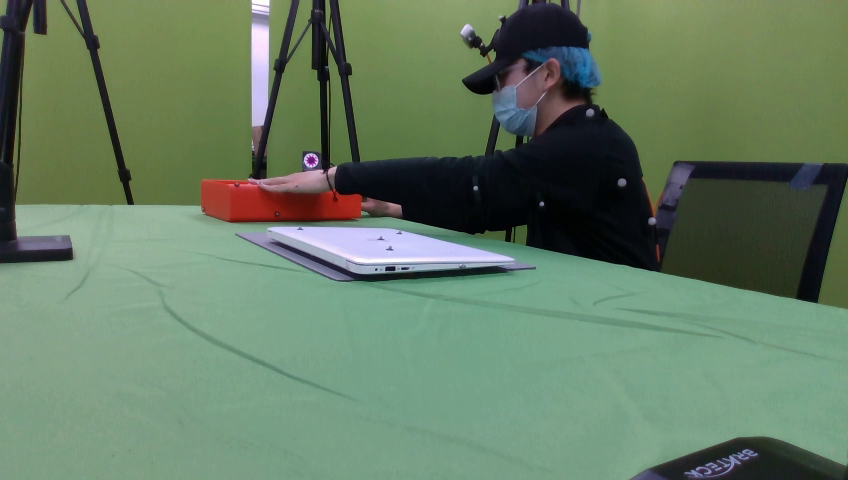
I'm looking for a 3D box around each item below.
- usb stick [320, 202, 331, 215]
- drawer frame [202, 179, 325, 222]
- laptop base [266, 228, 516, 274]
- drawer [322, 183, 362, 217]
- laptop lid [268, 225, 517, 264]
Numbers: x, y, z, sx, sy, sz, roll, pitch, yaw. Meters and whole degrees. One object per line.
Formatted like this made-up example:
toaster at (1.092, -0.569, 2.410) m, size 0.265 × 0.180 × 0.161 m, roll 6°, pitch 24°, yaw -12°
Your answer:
usb stick at (-0.233, -0.075, 1.426) m, size 0.021 × 0.027 × 0.059 m, roll 2°, pitch 5°, yaw -17°
drawer frame at (-0.361, -0.092, 1.356) m, size 0.215 × 0.082 × 0.200 m, roll -4°, pitch 10°, yaw -37°
laptop base at (-0.066, 0.014, 0.877) m, size 0.237 × 0.023 × 0.352 m, roll 2°, pitch 6°, yaw -32°
drawer at (-0.283, -0.095, 1.416) m, size 0.213 × 0.073 × 0.193 m, roll -4°, pitch 10°, yaw -37°
laptop lid at (-0.063, 0.002, 0.877) m, size 0.243 × 0.013 × 0.355 m, roll 1°, pitch 7°, yaw -30°
